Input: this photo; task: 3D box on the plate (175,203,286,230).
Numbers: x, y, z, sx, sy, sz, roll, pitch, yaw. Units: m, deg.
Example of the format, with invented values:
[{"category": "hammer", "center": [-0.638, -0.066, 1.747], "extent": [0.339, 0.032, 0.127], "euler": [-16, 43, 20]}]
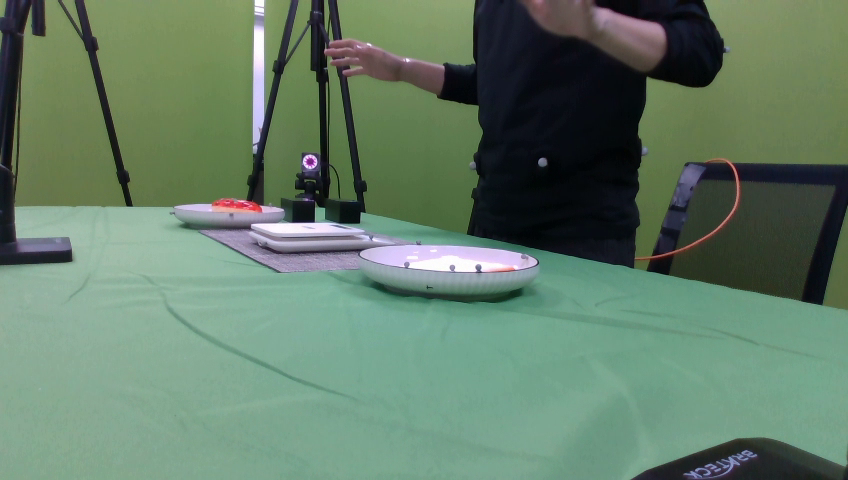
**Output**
[{"category": "plate", "center": [-0.380, -0.047, 1.199], "extent": [0.208, 0.039, 0.207], "euler": [2, 7, 0]}]

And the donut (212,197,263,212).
[{"category": "donut", "center": [-0.376, -0.061, 1.220], "extent": [0.099, 0.048, 0.099], "euler": [5, 3, 0]}]

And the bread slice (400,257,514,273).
[{"category": "bread slice", "center": [0.029, 0.038, 0.689], "extent": [0.104, 0.019, 0.132], "euler": [8, 10, 37]}]

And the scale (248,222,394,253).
[{"category": "scale", "center": [-0.162, -0.006, 0.954], "extent": [0.202, 0.031, 0.148], "euler": [-1, 9, -32]}]

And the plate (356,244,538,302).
[{"category": "plate", "center": [0.025, 0.036, 0.693], "extent": [0.209, 0.038, 0.209], "euler": [3, 7, 0]}]
